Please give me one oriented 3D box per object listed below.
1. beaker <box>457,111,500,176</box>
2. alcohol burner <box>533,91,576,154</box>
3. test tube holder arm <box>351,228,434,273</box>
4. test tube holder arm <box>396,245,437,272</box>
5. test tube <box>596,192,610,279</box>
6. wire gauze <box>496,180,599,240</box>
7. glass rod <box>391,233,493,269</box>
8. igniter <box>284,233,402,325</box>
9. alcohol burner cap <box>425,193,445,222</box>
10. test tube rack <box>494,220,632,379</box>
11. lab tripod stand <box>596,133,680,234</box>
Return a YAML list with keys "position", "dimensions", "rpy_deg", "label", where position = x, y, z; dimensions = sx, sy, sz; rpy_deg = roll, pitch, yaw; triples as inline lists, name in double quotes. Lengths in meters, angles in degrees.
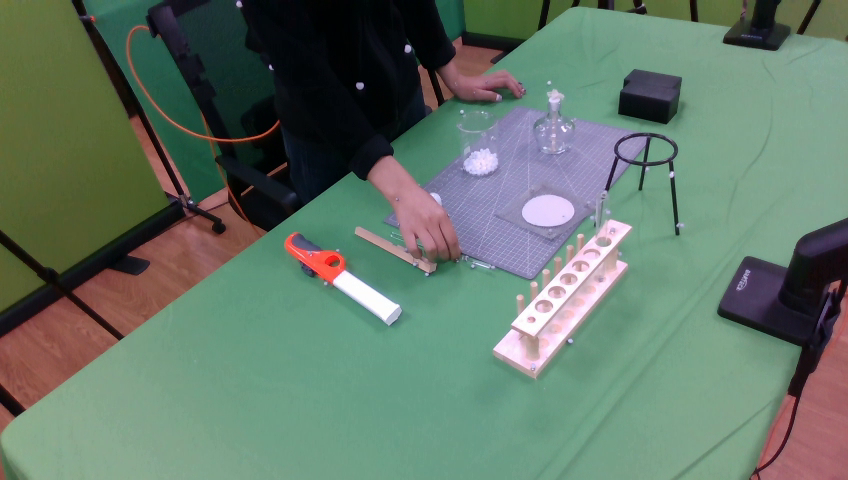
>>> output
- position: [0.104, -0.175, 1.108]
  dimensions: [0.073, 0.101, 0.084]
  rpy_deg: [16, 46, 27]
  label: "beaker"
- position: [0.243, -0.222, 1.124]
  dimensions: [0.078, 0.119, 0.077]
  rpy_deg: [-4, 39, 4]
  label: "alcohol burner"
- position: [-0.054, 0.014, 0.977]
  dimensions: [0.177, 0.015, 0.013]
  rpy_deg: [24, 13, 33]
  label: "test tube holder arm"
- position: [-0.017, 0.030, 0.957]
  dimensions: [0.087, 0.015, 0.010]
  rpy_deg: [24, 14, 34]
  label: "test tube holder arm"
- position: [0.240, -0.002, 0.814]
  dimensions: [0.017, 0.151, 0.017]
  rpy_deg: [-7, 42, 7]
  label: "test tube"
- position: [0.206, -0.050, 1.012]
  dimensions: [0.125, 0.011, 0.120]
  rpy_deg: [-34, 45, -26]
  label: "wire gauze"
- position: [0.024, 0.017, 0.971]
  dimensions: [0.198, 0.008, 0.008]
  rpy_deg: [18, 48, 32]
  label: "glass rod"
- position: [-0.136, 0.054, 0.942]
  dimensions: [0.274, 0.025, 0.057]
  rpy_deg: [30, 63, 37]
  label: "igniter"
- position: [0.017, -0.057, 1.029]
  dimensions: [0.034, 0.048, 0.033]
  rpy_deg: [-6, 40, 5]
  label: "alcohol burner cap"
- position: [0.191, 0.068, 0.818]
  dimensions: [0.066, 0.085, 0.243]
  rpy_deg: [25, 51, 35]
  label: "test tube rack"
- position: [0.338, -0.090, 0.940]
  dimensions: [0.148, 0.132, 0.147]
  rpy_deg: [-7, 39, 6]
  label: "lab tripod stand"
